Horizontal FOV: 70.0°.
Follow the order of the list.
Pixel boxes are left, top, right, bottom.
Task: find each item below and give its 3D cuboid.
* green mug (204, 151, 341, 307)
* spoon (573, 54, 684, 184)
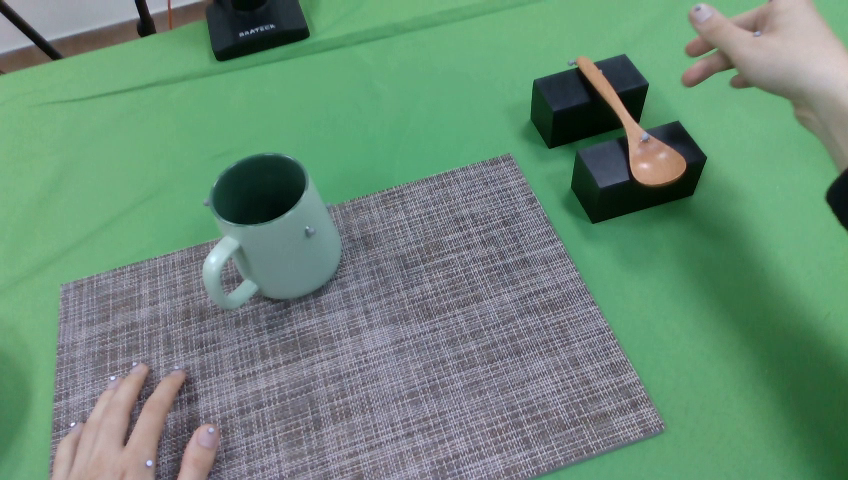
[{"bbox_3d":[-0.132,0.001,0.508,0.092,0.106,0.125,23,60,21],"label":"green mug"},{"bbox_3d":[0.178,-0.118,0.553,0.041,0.022,0.191,-25,53,10],"label":"spoon"}]
